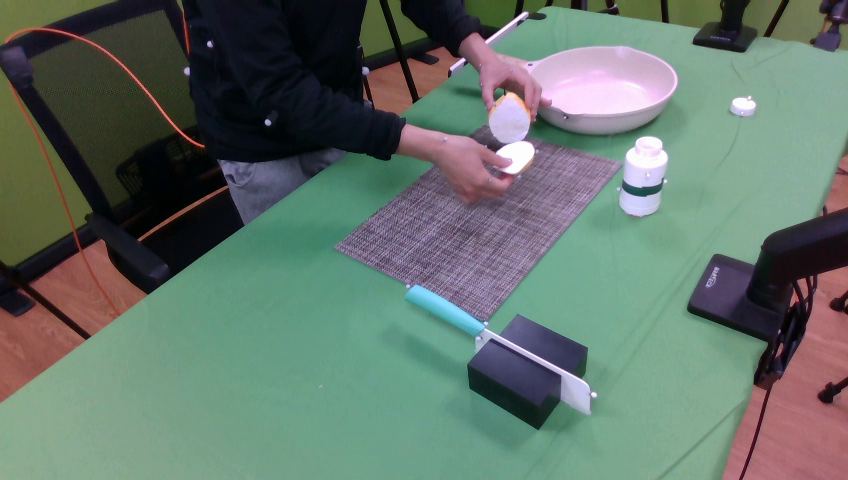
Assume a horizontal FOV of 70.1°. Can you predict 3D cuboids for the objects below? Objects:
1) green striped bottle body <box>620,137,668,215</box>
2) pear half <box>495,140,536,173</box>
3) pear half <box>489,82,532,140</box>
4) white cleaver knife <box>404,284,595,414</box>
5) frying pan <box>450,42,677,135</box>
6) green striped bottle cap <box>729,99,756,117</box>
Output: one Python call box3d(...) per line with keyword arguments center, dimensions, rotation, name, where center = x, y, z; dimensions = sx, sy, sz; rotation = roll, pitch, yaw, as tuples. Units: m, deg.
box3d(center=(0.350, -0.103, 0.963), dimensions=(0.063, 0.120, 0.063), rotation=(-4, 41, 4), name="green striped bottle body")
box3d(center=(0.155, -0.129, 0.992), dimensions=(0.070, 0.031, 0.087), rotation=(-26, 35, 22), name="pear half")
box3d(center=(0.152, -0.237, 1.071), dimensions=(0.076, 0.110, 0.055), rotation=(-5, 44, 9), name="pear half")
box3d(center=(0.084, 0.135, 0.764), dimensions=(0.284, 0.066, 0.021), rotation=(28, 47, 31), name="white cleaver knife")
box3d(center=(0.268, -0.344, 1.267), dimensions=(0.485, 0.103, 0.307), rotation=(26, 49, 21), name="frying pan")
box3d(center=(0.623, -0.259, 1.182), dimensions=(0.044, 0.020, 0.044), rotation=(-3, 40, 3), name="green striped bottle cap")
